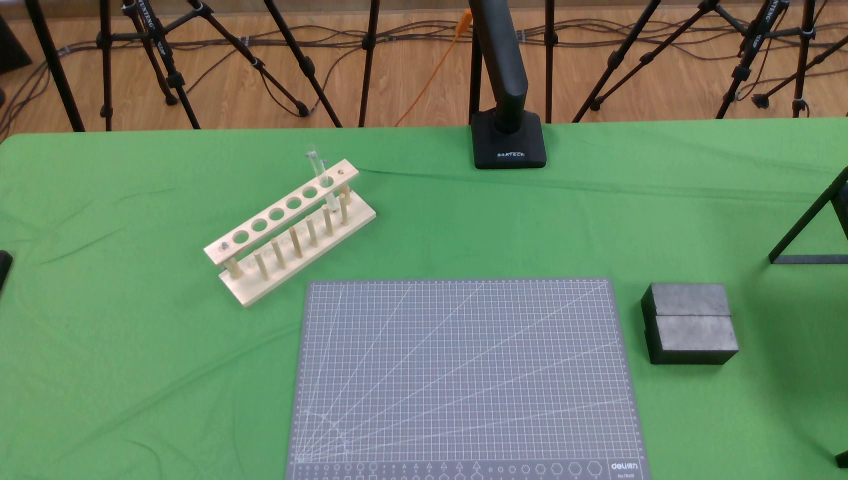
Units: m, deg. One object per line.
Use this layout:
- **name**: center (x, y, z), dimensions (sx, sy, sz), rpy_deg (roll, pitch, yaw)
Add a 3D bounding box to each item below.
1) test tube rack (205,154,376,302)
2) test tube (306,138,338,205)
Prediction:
- **test tube rack**: center (-0.188, -0.020, 0.891), dimensions (0.242, 0.086, 0.066), rpy_deg (-37, 64, -21)
- **test tube**: center (-0.146, -0.095, 0.880), dimensions (0.017, 0.151, 0.017), rpy_deg (-2, 60, 4)
